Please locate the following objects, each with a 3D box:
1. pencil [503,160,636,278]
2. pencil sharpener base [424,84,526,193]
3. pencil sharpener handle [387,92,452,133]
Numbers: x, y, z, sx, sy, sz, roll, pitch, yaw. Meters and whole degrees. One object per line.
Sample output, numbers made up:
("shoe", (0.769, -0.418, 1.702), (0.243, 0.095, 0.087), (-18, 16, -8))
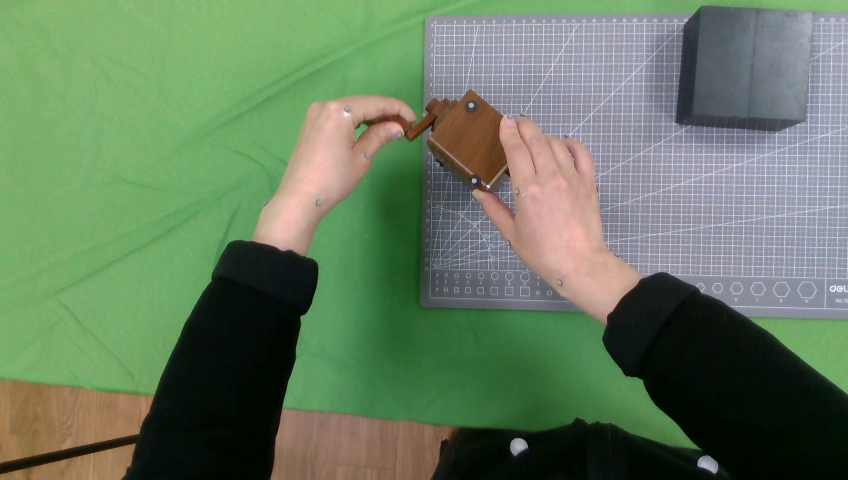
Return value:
("pencil", (0.115, -0.032, 0.542), (0.194, 0.012, 0.012), (42, 94, 0))
("pencil sharpener base", (0.046, -0.092, 0.569), (0.076, 0.107, 0.061), (41, 94, 4))
("pencil sharpener handle", (-0.003, -0.118, 0.533), (0.030, 0.067, 0.036), (41, 137, 4))
